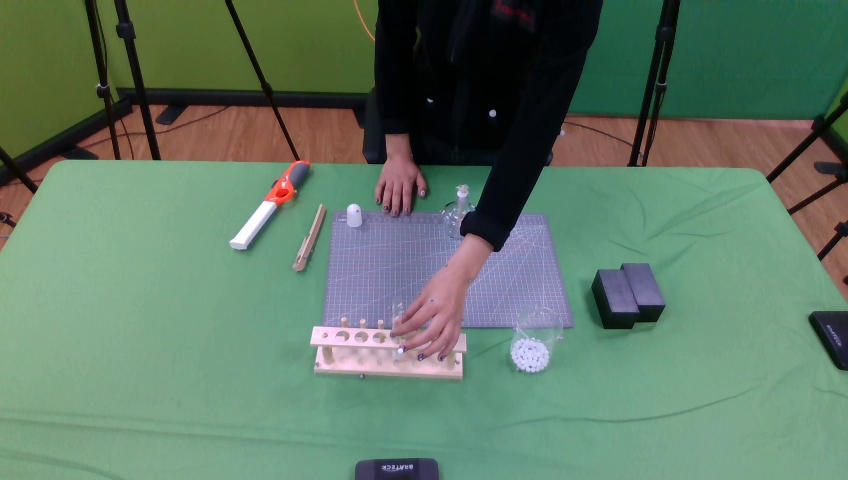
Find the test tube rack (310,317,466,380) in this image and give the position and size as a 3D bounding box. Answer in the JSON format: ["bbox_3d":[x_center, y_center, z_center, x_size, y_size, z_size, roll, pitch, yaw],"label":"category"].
[{"bbox_3d":[-0.056,0.171,0.986,0.242,0.085,0.066,3,46,-1],"label":"test tube rack"}]

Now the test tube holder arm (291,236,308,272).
[{"bbox_3d":[-0.234,0.024,1.163,0.010,0.015,0.087,-16,38,28],"label":"test tube holder arm"}]

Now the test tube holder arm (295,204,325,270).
[{"bbox_3d":[-0.222,-0.008,1.192,0.013,0.015,0.177,-17,38,27],"label":"test tube holder arm"}]

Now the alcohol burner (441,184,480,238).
[{"bbox_3d":[0.073,-0.061,1.195,0.078,0.120,0.077,1,47,-1],"label":"alcohol burner"}]

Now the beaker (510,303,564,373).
[{"bbox_3d":[0.182,0.164,1.000,0.074,0.101,0.083,2,45,-2],"label":"beaker"}]

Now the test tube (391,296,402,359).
[{"bbox_3d":[-0.042,0.138,0.934,0.017,0.151,0.017,2,46,-2],"label":"test tube"}]

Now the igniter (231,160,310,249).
[{"bbox_3d":[-0.311,-0.081,1.250,0.057,0.025,0.275,9,45,18],"label":"igniter"}]

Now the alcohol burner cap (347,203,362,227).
[{"bbox_3d":[-0.141,-0.053,1.222,0.034,0.048,0.033,2,47,-2],"label":"alcohol burner cap"}]
